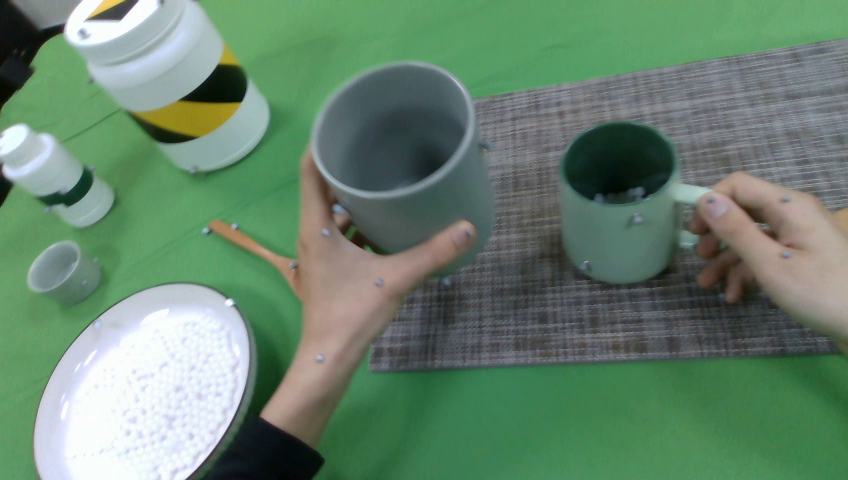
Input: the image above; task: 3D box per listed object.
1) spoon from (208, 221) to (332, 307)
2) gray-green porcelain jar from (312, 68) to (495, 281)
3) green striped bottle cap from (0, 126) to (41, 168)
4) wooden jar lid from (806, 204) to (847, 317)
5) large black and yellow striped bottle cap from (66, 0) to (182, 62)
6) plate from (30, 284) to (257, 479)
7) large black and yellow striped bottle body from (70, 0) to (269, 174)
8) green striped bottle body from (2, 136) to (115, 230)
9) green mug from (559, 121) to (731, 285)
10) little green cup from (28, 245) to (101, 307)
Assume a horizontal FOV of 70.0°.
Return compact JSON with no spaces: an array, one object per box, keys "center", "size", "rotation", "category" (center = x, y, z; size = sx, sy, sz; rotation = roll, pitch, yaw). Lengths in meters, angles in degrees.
[{"center":[-0.155,0.014,0.590],"size":[0.192,0.022,0.041],"rotation":[26,85,30],"category":"spoon"},{"center":[-0.006,-0.037,0.427],"size":[0.105,0.128,0.105],"rotation":[-6,60,11],"category":"gray-green porcelain jar"},{"center":[-0.423,-0.096,0.628],"size":[0.044,0.020,0.044],"rotation":[-7,57,11],"category":"green striped bottle cap"},{"center":[0.327,0.019,0.421],"size":[0.108,0.021,0.107],"rotation":[-9,56,14],"category":"wooden jar lid"},{"center":[-0.290,-0.217,0.584],"size":[0.115,0.019,0.114],"rotation":[-9,54,13],"category":"large black and yellow striped bottle cap"},{"center":[-0.236,0.137,0.527],"size":[0.209,0.038,0.207],"rotation":[-9,55,13],"category":"plate"},{"center":[-0.266,-0.174,0.651],"size":[0.130,0.186,0.129],"rotation":[-9,55,13],"category":"large black and yellow striped bottle body"},{"center":[-0.408,-0.067,0.669],"size":[0.063,0.120,0.062],"rotation":[-9,55,14],"category":"green striped bottle body"},{"center":[0.161,-0.022,0.452],"size":[0.124,0.106,0.092],"rotation":[15,63,26],"category":"green mug"},{"center":[-0.376,0.040,0.637],"size":[0.061,0.039,0.061],"rotation":[-9,54,13],"category":"little green cup"}]
